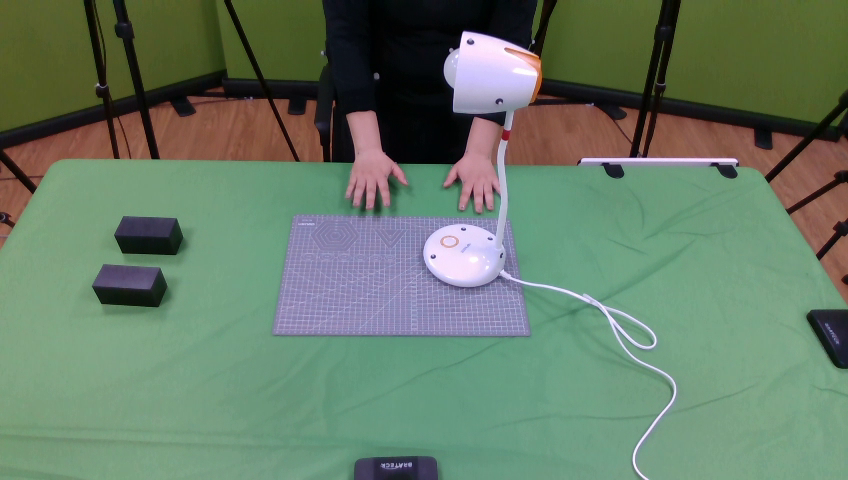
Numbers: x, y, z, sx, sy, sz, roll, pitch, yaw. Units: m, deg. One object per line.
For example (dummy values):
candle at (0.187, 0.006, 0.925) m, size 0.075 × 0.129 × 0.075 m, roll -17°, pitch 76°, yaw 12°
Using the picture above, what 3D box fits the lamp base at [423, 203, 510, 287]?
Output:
lamp base at (0.092, -0.021, 1.111) m, size 0.179 × 0.181 × 0.160 m, roll 23°, pitch 49°, yaw 14°

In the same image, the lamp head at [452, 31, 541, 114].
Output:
lamp head at (0.102, -0.228, 0.858) m, size 0.123 × 0.113 × 0.112 m, roll 11°, pitch 46°, yaw 0°
